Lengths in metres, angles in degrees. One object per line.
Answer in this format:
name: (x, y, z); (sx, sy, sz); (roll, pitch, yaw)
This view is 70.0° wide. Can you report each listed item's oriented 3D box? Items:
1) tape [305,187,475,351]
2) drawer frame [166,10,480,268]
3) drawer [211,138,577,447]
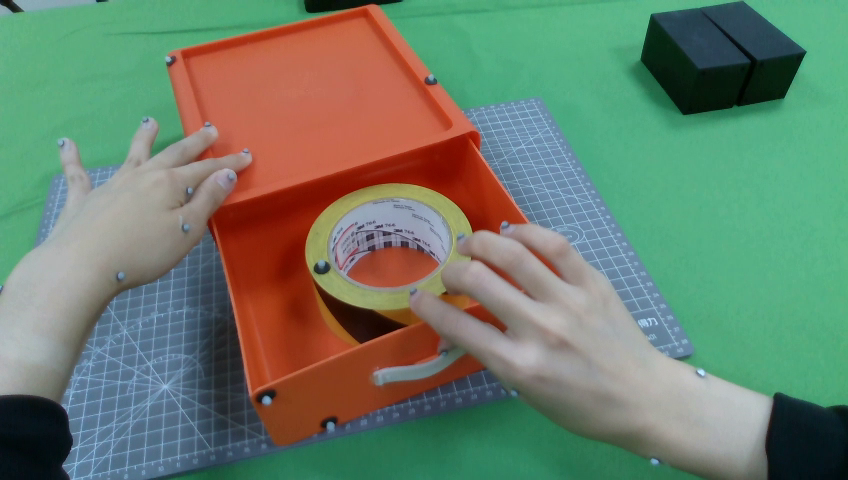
tape: (-0.023, 0.019, 0.414); (0.117, 0.053, 0.115); (0, 48, 1)
drawer frame: (-0.090, -0.090, 0.503); (0.202, 0.083, 0.211); (-20, 49, -14)
drawer: (-0.036, 0.007, 0.418); (0.195, 0.074, 0.209); (-18, 49, -13)
